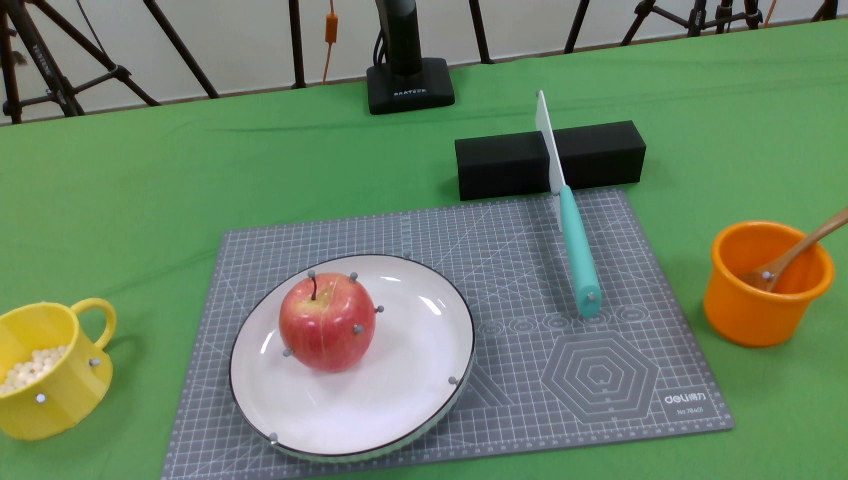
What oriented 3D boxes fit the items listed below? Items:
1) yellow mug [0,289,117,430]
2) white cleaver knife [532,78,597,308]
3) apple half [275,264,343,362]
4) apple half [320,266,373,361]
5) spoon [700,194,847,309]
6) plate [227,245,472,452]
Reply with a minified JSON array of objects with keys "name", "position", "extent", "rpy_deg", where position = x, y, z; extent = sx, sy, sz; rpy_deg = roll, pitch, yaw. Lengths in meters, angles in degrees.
[{"name":"yellow mug","position":[-0.329,0.094,0.535],"extent":[0.099,0.064,0.130],"rpy_deg":[20,50,24]},{"name":"white cleaver knife","position":[0.139,-0.056,0.624],"extent":[0.021,0.066,0.283],"rpy_deg":[-5,55,4]},{"name":"apple half","position":[-0.097,0.063,0.518],"extent":[0.053,0.075,0.080],"rpy_deg":[0,48,13]},{"name":"apple half","position":[-0.059,0.064,0.511],"extent":[0.032,0.082,0.080],"rpy_deg":[-1,45,13]},{"name":"spoon","position":[0.315,-0.005,0.499],"extent":[0.022,0.194,0.041],"rpy_deg":[27,32,-30]},{"name":"plate","position":[-0.062,0.089,0.524],"extent":[0.209,0.038,0.207],"rpy_deg":[-3,45,3]}]
